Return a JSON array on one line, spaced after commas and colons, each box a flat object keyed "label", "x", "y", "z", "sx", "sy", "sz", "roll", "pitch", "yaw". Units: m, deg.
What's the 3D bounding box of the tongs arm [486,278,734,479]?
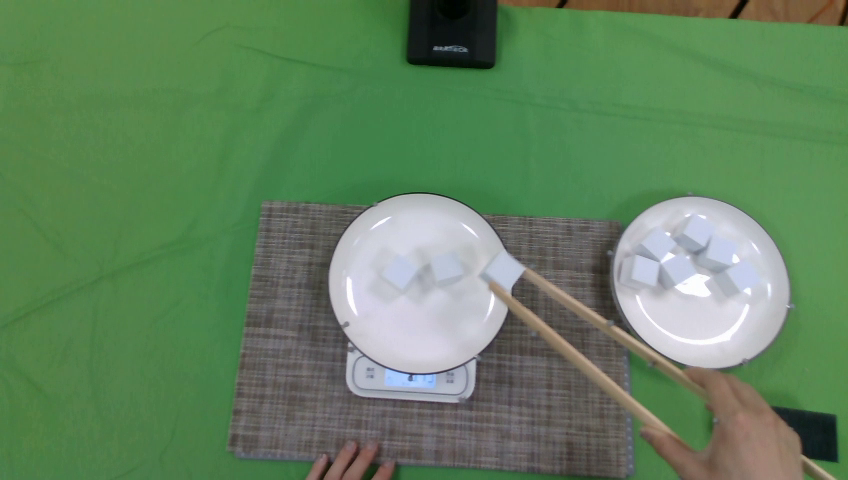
[{"label": "tongs arm", "x": 0.204, "y": 0.152, "z": 0.545, "sx": 0.384, "sy": 0.028, "sz": 0.028, "roll": 38, "pitch": 66, "yaw": 24}]

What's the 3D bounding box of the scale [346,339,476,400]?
[{"label": "scale", "x": -0.010, "y": 0.081, "z": 0.711, "sx": 0.149, "sy": 0.032, "sz": 0.200, "roll": 4, "pitch": 75, "yaw": 1}]

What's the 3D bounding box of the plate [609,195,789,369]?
[{"label": "plate", "x": 0.321, "y": 0.050, "z": 0.723, "sx": 0.208, "sy": 0.039, "sz": 0.206, "roll": 0, "pitch": 75, "yaw": 0}]

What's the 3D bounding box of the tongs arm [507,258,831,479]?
[{"label": "tongs arm", "x": 0.220, "y": 0.137, "z": 0.552, "sx": 0.382, "sy": 0.027, "sz": 0.050, "roll": 34, "pitch": 68, "yaw": 22}]

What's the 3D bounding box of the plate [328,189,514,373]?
[{"label": "plate", "x": -0.003, "y": 0.045, "z": 0.686, "sx": 0.209, "sy": 0.038, "sz": 0.208, "roll": 0, "pitch": 75, "yaw": -1}]
